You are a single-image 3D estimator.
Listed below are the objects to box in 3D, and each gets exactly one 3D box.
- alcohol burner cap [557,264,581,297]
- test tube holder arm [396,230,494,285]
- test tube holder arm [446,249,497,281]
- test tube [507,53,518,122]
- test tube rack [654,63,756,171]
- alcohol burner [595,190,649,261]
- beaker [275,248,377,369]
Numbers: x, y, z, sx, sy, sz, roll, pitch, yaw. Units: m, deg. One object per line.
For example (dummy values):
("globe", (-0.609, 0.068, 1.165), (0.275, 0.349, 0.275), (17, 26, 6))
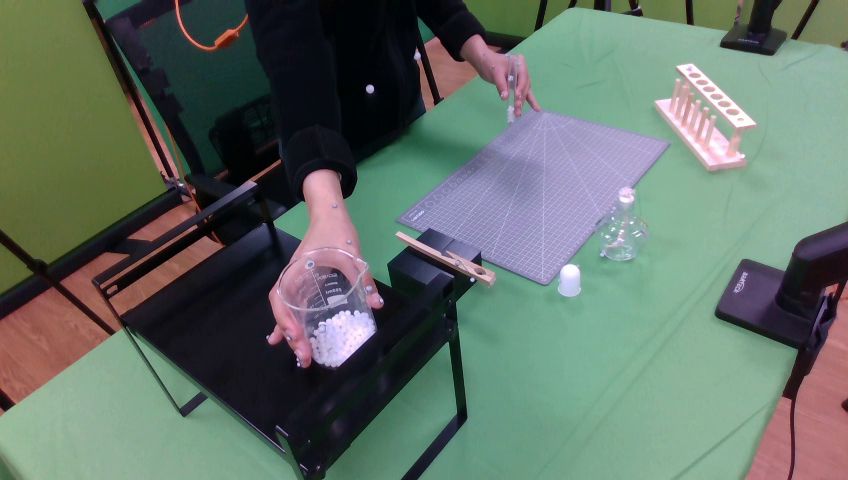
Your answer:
("alcohol burner cap", (0.208, 0.055, 0.866), (0.034, 0.048, 0.033), (-4, 42, 4))
("test tube holder arm", (0.026, 0.023, 0.872), (0.177, 0.015, 0.013), (25, 63, 32))
("test tube holder arm", (0.064, 0.035, 0.850), (0.087, 0.015, 0.010), (25, 63, 32))
("test tube", (0.150, -0.255, 1.028), (0.017, 0.151, 0.017), (-3, 57, 5))
("test tube rack", (0.510, -0.233, 1.120), (0.067, 0.085, 0.241), (-8, 41, -1))
("alcohol burner", (0.294, -0.028, 0.893), (0.078, 0.119, 0.077), (-4, 43, 4))
("beaker", (-0.084, 0.066, 0.565), (0.084, 0.101, 0.073), (-20, 46, -10))
